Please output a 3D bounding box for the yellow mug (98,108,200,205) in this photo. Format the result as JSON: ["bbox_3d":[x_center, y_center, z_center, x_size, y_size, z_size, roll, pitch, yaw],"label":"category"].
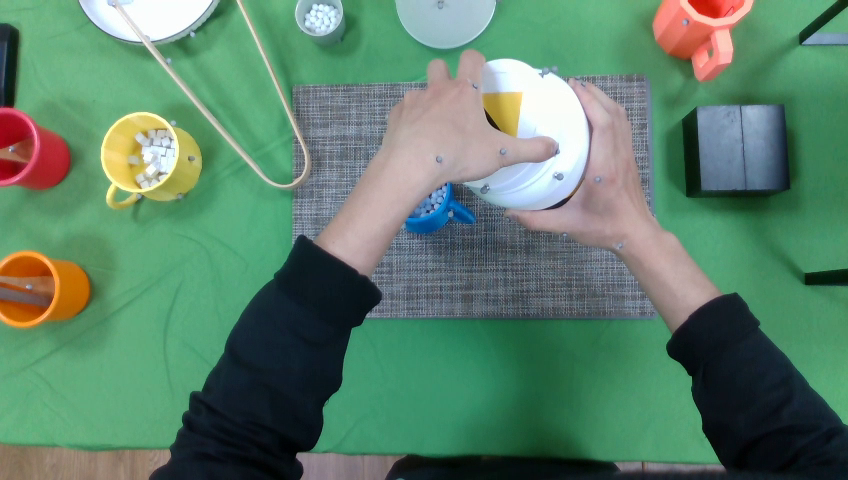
[{"bbox_3d":[-0.355,-0.096,0.764,0.100,0.064,0.131,38,90,5],"label":"yellow mug"}]

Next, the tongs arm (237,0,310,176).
[{"bbox_3d":[-0.226,-0.264,0.766,0.028,0.028,0.387,-25,91,-7],"label":"tongs arm"}]

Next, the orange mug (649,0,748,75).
[{"bbox_3d":[0.327,-0.265,0.715,0.083,0.101,0.125,-10,80,3],"label":"orange mug"}]

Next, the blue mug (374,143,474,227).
[{"bbox_3d":[0.005,-0.055,0.713,0.116,0.106,0.082,25,87,6],"label":"blue mug"}]

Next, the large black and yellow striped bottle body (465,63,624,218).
[{"bbox_3d":[0.109,-0.096,0.600,0.130,0.185,0.130,-4,83,34],"label":"large black and yellow striped bottle body"}]

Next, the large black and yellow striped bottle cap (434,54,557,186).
[{"bbox_3d":[0.059,-0.105,0.529,0.114,0.019,0.114,-5,81,35],"label":"large black and yellow striped bottle cap"}]

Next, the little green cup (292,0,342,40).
[{"bbox_3d":[-0.135,-0.289,0.778,0.061,0.039,0.061,0,86,4],"label":"little green cup"}]

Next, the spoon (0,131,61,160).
[{"bbox_3d":[-0.552,-0.104,0.739,0.194,0.021,0.041,-21,80,-42],"label":"spoon"}]

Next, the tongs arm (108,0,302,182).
[{"bbox_3d":[-0.296,-0.217,0.764,0.051,0.026,0.385,-39,91,-3],"label":"tongs arm"}]

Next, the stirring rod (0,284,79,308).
[{"bbox_3d":[-0.510,0.058,0.723,0.006,0.178,0.014,-14,64,46],"label":"stirring rod"}]

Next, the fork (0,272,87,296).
[{"bbox_3d":[-0.518,0.040,0.722,0.209,0.018,0.028,16,84,-39],"label":"fork"}]

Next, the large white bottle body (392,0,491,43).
[{"bbox_3d":[0.016,-0.325,0.697,0.130,0.185,0.130,0,85,4],"label":"large white bottle body"}]

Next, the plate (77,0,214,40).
[{"bbox_3d":[-0.359,-0.361,0.798,0.207,0.039,0.207,0,86,4],"label":"plate"}]
